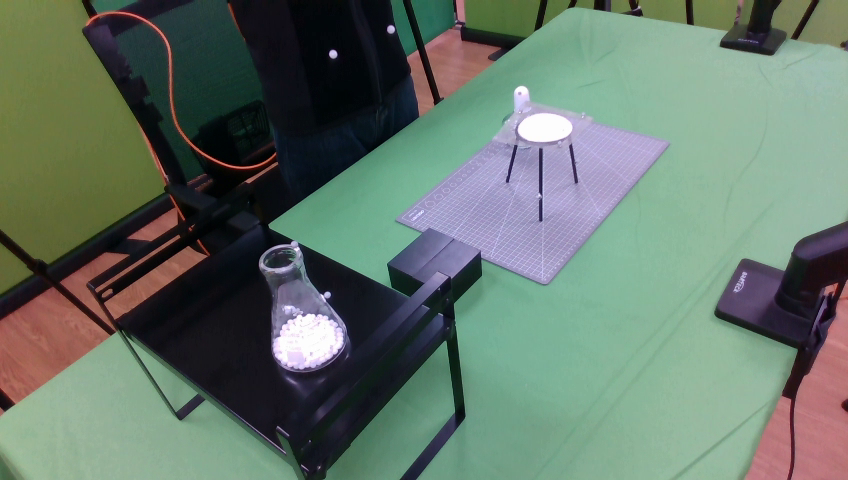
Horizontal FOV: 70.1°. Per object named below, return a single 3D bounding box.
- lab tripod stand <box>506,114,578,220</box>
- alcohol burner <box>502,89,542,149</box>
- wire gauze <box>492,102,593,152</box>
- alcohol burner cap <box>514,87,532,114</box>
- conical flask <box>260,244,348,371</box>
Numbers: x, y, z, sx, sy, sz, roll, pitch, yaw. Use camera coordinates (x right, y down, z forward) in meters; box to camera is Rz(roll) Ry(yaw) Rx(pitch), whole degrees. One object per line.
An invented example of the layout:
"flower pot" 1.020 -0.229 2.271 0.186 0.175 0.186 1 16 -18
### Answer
"lab tripod stand" 0.198 -0.128 1.005 0.148 0.132 0.147 -3 42 3
"alcohol burner" 0.186 -0.235 1.149 0.078 0.119 0.077 -5 42 5
"wire gauze" 0.190 -0.180 0.964 0.120 0.011 0.125 19 48 27
"alcohol burner cap" 0.183 -0.262 1.125 0.034 0.048 0.033 -8 40 7
"conical flask" -0.118 0.060 0.565 0.075 0.122 0.075 -5 41 4
